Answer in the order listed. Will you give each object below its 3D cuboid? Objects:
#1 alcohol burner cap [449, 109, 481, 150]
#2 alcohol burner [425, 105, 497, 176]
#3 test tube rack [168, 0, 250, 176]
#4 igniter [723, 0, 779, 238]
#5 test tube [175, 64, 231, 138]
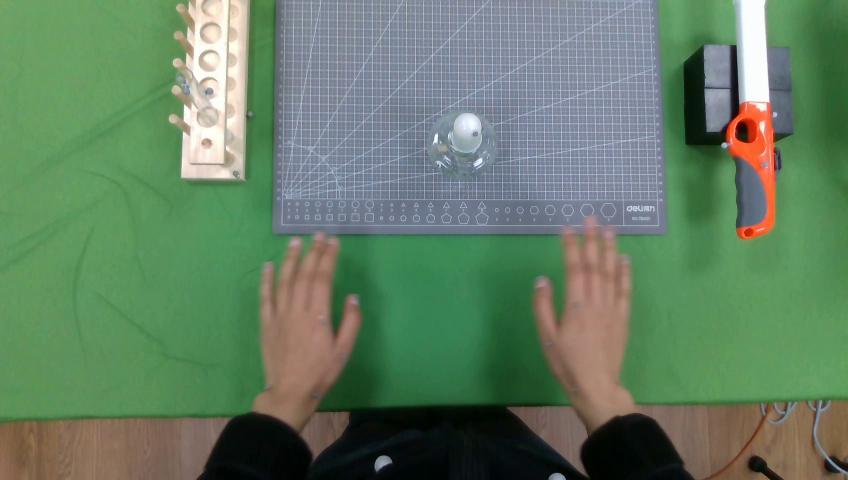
[{"bbox_3d":[0.042,-0.113,0.605,0.034,0.048,0.033,0,80,1],"label":"alcohol burner cap"},{"bbox_3d":[0.040,-0.109,0.640,0.078,0.119,0.078,0,86,-2],"label":"alcohol burner"},{"bbox_3d":[-0.234,-0.196,0.651,0.067,0.085,0.241,1,85,-2],"label":"test tube rack"},{"bbox_3d":[0.355,-0.139,0.659,0.057,0.025,0.275,3,83,0],"label":"igniter"},{"bbox_3d":[-0.214,-0.133,0.597,0.017,0.150,0.017,1,79,-4],"label":"test tube"}]
